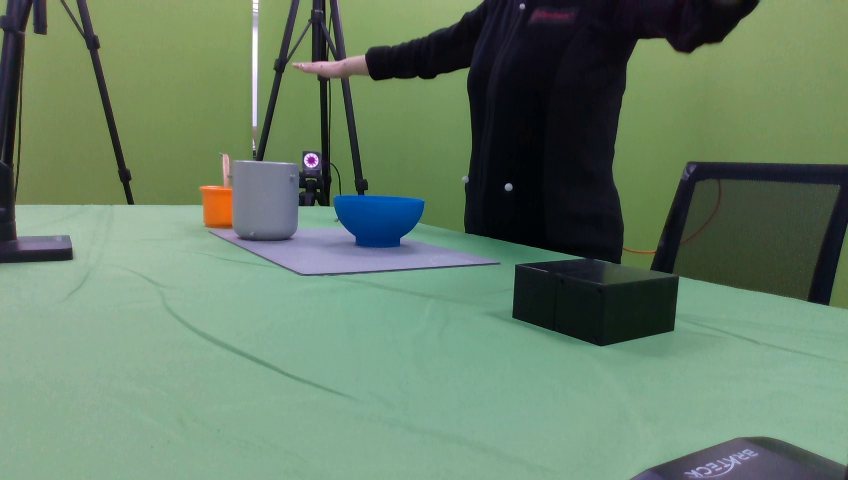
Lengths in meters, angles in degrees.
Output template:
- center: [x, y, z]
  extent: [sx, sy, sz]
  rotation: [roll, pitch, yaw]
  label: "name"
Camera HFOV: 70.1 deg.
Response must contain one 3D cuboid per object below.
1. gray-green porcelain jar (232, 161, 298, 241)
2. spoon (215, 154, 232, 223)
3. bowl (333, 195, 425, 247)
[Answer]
- center: [-0.262, -0.065, 0.999]
  extent: [0.106, 0.126, 0.106]
  rotation: [3, 7, 0]
  label: "gray-green porcelain jar"
- center: [-0.389, -0.104, 1.194]
  extent: [0.042, 0.193, 0.021]
  rotation: [1, -37, -19]
  label: "spoon"
- center: [-0.074, -0.031, 0.987]
  extent: [0.151, 0.077, 0.151]
  rotation: [2, 7, 0]
  label: "bowl"
